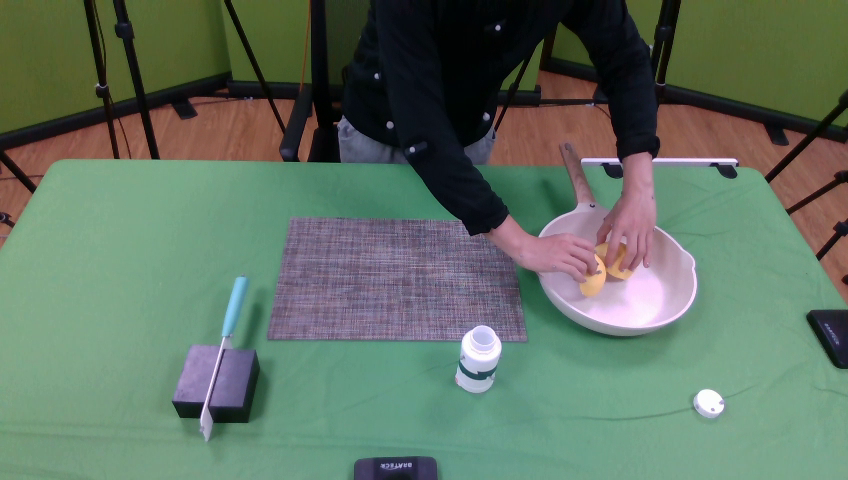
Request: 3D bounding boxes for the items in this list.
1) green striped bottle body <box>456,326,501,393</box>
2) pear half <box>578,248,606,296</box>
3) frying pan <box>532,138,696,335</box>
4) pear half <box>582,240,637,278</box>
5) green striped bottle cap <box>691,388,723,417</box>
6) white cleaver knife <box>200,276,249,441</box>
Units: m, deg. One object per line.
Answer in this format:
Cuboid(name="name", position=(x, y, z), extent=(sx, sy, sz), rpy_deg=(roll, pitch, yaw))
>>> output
Cuboid(name="green striped bottle body", position=(0.086, 0.185, 0.959), extent=(0.063, 0.120, 0.063), rpy_deg=(2, 46, -2))
Cuboid(name="pear half", position=(0.307, 0.058, 1.089), extent=(0.031, 0.088, 0.070), rpy_deg=(6, 14, 43))
Cuboid(name="frying pan", position=(0.336, -0.024, 1.190), extent=(0.307, 0.103, 0.484), rpy_deg=(-2, 55, -7))
Cuboid(name="pear half", position=(0.352, 0.023, 1.146), extent=(0.110, 0.056, 0.076), rpy_deg=(21, 25, -15))
Cuboid(name="green striped bottle cap", position=(0.460, 0.263, 0.984), extent=(0.044, 0.020, 0.044), rpy_deg=(3, 47, -3))
Cuboid(name="white cleaver knife", position=(-0.321, 0.177, 0.971), extent=(0.021, 0.066, 0.284), rpy_deg=(7, 48, -5))
